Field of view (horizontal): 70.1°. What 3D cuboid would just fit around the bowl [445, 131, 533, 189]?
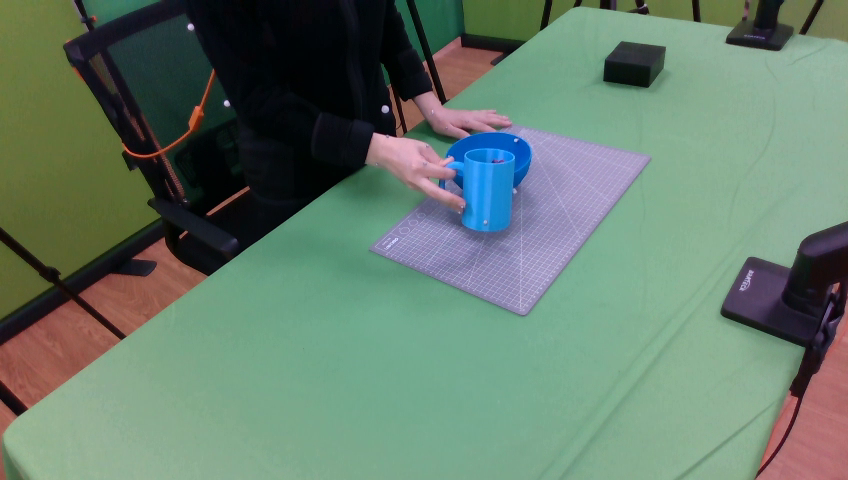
[{"bbox_3d":[0.115,-0.119,1.056,0.151,0.077,0.150,-6,40,5],"label":"bowl"}]

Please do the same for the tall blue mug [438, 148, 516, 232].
[{"bbox_3d":[0.082,-0.075,0.913,0.107,0.108,0.077,-6,28,-14],"label":"tall blue mug"}]
